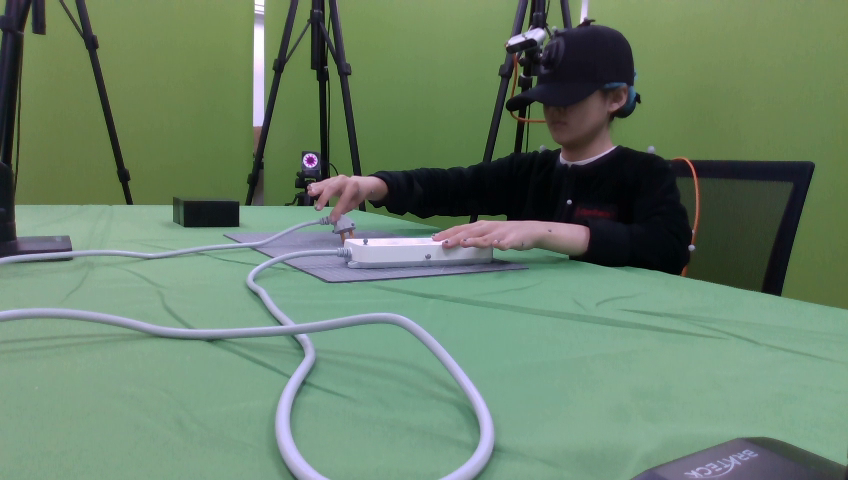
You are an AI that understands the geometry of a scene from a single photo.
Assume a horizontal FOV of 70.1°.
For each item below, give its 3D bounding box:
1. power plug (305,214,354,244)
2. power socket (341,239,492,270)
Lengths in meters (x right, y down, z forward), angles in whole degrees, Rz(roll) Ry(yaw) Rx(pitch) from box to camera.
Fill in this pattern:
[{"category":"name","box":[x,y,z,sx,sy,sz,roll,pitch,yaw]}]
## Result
[{"category":"power plug","box":[-0.151,-0.014,0.988,0.072,0.052,0.035,-17,-7,0]},{"category":"power socket","box":[-0.006,0.018,0.831,0.228,0.032,0.072,-1,7,-29]}]
